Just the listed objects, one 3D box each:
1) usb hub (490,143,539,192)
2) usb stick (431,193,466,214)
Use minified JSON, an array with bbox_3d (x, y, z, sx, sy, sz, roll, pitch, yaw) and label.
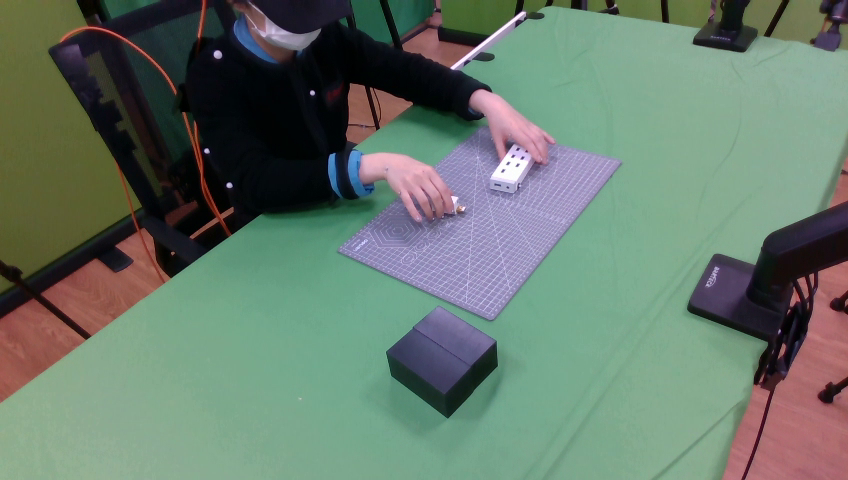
[{"bbox_3d":[0.165,-0.132,1.091,0.049,0.025,0.125,15,45,23],"label":"usb hub"},{"bbox_3d":[0.042,-0.060,1.025,0.059,0.027,0.021,13,44,16],"label":"usb stick"}]
